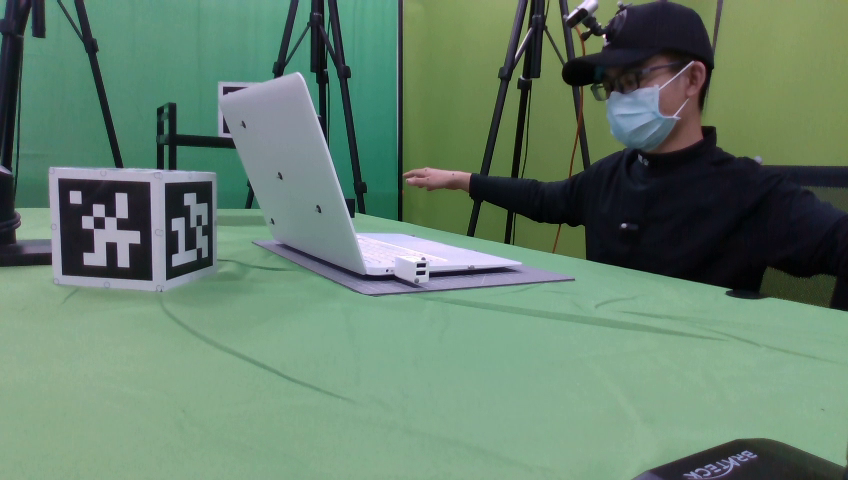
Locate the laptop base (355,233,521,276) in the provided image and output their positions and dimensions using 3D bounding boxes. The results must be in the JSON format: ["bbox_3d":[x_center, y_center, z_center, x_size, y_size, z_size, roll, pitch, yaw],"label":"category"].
[{"bbox_3d":[-0.056,0.018,0.898,0.237,0.023,0.352,2,6,-32],"label":"laptop base"}]

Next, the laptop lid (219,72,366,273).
[{"bbox_3d":[-0.189,-0.087,0.801,0.013,0.242,0.355,-26,21,-26],"label":"laptop lid"}]

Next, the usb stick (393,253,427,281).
[{"bbox_3d":[-0.020,0.030,0.694,0.021,0.027,0.059,-4,6,-31],"label":"usb stick"}]
